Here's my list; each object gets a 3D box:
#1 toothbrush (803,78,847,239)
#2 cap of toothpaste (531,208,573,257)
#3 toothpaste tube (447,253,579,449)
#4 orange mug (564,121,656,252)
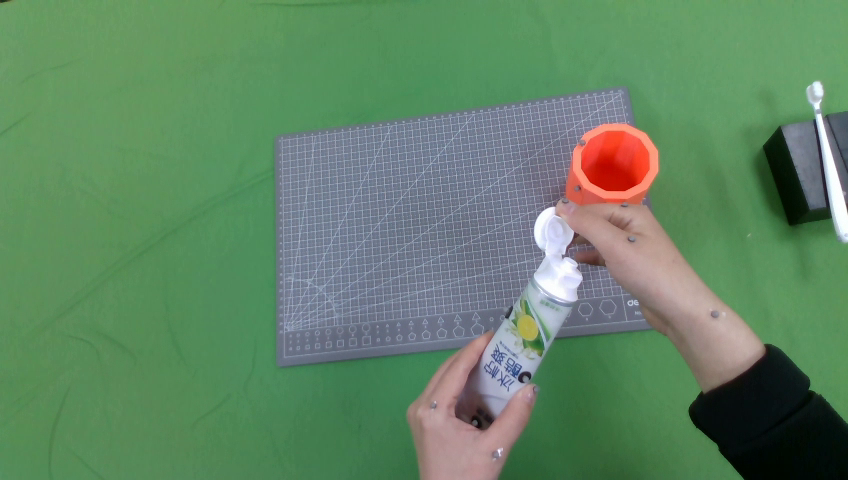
[{"bbox_3d":[0.422,-0.089,0.635,0.014,0.017,0.181,-2,74,4],"label":"toothbrush"},{"bbox_3d":[0.093,-0.005,0.435,0.037,0.011,0.037,-2,95,-27],"label":"cap of toothpaste"},{"bbox_3d":[0.066,0.079,0.450,0.054,0.035,0.165,41,117,34],"label":"toothpaste tube"},{"bbox_3d":[0.199,-0.054,0.660,0.083,0.101,0.125,1,69,9],"label":"orange mug"}]
